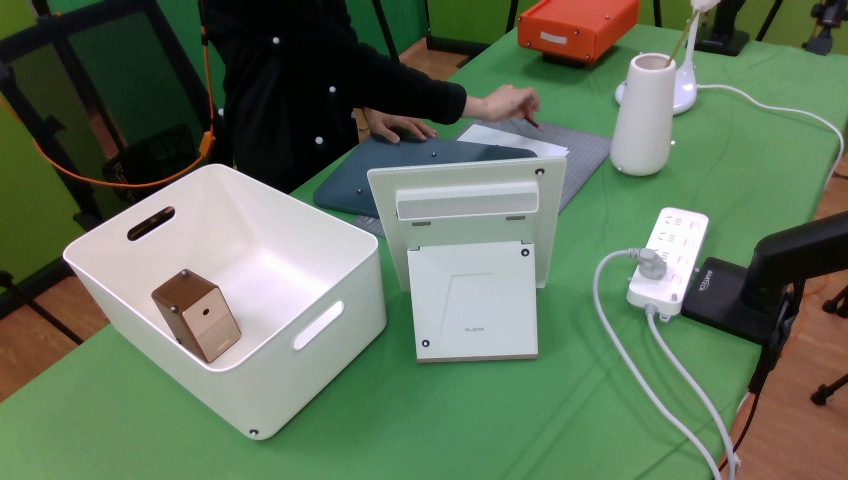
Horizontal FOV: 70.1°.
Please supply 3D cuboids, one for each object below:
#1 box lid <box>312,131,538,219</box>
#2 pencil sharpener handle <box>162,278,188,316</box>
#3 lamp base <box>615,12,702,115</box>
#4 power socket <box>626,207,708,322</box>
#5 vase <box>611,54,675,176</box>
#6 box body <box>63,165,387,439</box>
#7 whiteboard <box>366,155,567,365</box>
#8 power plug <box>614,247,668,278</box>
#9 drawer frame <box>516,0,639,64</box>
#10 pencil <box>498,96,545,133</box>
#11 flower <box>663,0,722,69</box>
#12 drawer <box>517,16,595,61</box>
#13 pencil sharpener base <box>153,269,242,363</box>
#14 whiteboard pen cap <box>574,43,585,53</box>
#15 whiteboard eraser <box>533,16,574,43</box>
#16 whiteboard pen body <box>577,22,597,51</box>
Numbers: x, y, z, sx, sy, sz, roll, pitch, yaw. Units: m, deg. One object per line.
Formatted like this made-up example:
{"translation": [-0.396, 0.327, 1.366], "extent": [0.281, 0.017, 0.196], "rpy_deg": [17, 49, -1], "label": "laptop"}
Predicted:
{"translation": [0.007, -0.113, 1.114], "extent": [0.369, 0.015, 0.263], "rpy_deg": [11, 44, 21], "label": "box lid"}
{"translation": [-0.350, 0.077, 0.841], "extent": [0.030, 0.068, 0.036], "rpy_deg": [23, 47, 32], "label": "pencil sharpener handle"}
{"translation": [0.484, -0.363, 1.211], "extent": [0.180, 0.181, 0.159], "rpy_deg": [-15, 41, -14], "label": "lamp base"}
{"translation": [0.359, 0.026, 0.886], "extent": [0.072, 0.033, 0.227], "rpy_deg": [16, 46, 26], "label": "power socket"}
{"translation": [0.377, -0.209, 1.031], "extent": [0.098, 0.201, 0.097], "rpy_deg": [-3, 40, 3], "label": "vase"}
{"translation": [-0.257, 0.068, 0.824], "extent": [0.361, 0.161, 0.255], "rpy_deg": [24, 49, 31], "label": "box body"}
{"translation": [0.059, 0.050, 0.738], "extent": [0.217, 0.307, 0.143], "rpy_deg": [-3, 60, 5], "label": "whiteboard"}
{"translation": [0.306, 0.031, 0.851], "extent": [0.072, 0.053, 0.035], "rpy_deg": [24, 49, 33], "label": "power plug"}
{"translation": [0.356, -0.507, 1.410], "extent": [0.200, 0.083, 0.214], "rpy_deg": [25, 52, 32], "label": "drawer frame"}
{"translation": [0.193, -0.251, 1.210], "extent": [0.012, 0.012, 0.192], "rpy_deg": [-17, 37, -12], "label": "pencil"}
{"translation": [0.379, -0.261, 0.965], "extent": [0.044, 0.362, 0.038], "rpy_deg": [21, 53, 5], "label": "flower"}
{"translation": [0.353, -0.505, 1.404], "extent": [0.193, 0.073, 0.212], "rpy_deg": [25, 50, 33], "label": "drawer"}
{"translation": [-0.308, 0.103, 0.824], "extent": [0.076, 0.107, 0.061], "rpy_deg": [23, 50, 32], "label": "pencil sharpener base"}
{"translation": [0.346, -0.430, 1.350], "extent": [0.018, 0.018, 0.033], "rpy_deg": [16, 38, 24], "label": "whiteboard pen cap"}
{"translation": [0.305, -0.493, 1.423], "extent": [0.055, 0.042, 0.113], "rpy_deg": [27, 43, 25], "label": "whiteboard eraser"}
{"translation": [0.372, -0.468, 1.390], "extent": [0.017, 0.017, 0.141], "rpy_deg": [14, 47, 23], "label": "whiteboard pen body"}
